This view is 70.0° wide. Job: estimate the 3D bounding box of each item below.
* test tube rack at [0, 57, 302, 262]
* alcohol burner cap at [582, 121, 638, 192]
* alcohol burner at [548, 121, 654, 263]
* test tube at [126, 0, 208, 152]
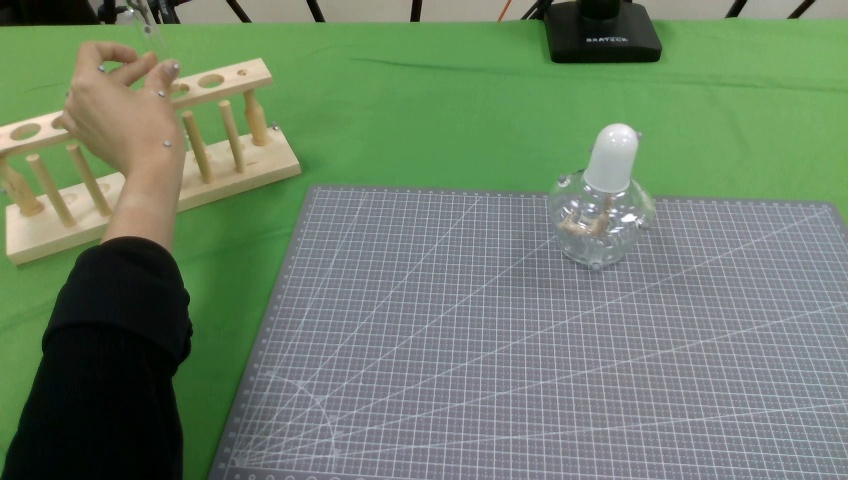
[{"bbox_3d":[-0.237,-0.072,0.514,0.243,0.086,0.066,-21,50,-16],"label":"test tube rack"},{"bbox_3d":[0.131,-0.061,0.422,0.034,0.048,0.033,1,46,-1],"label":"alcohol burner cap"},{"bbox_3d":[0.133,-0.039,0.444,0.078,0.120,0.077,0,48,1],"label":"alcohol burner"},{"bbox_3d":[-0.211,-0.138,0.499,0.017,0.152,0.017,-6,39,5],"label":"test tube"}]
